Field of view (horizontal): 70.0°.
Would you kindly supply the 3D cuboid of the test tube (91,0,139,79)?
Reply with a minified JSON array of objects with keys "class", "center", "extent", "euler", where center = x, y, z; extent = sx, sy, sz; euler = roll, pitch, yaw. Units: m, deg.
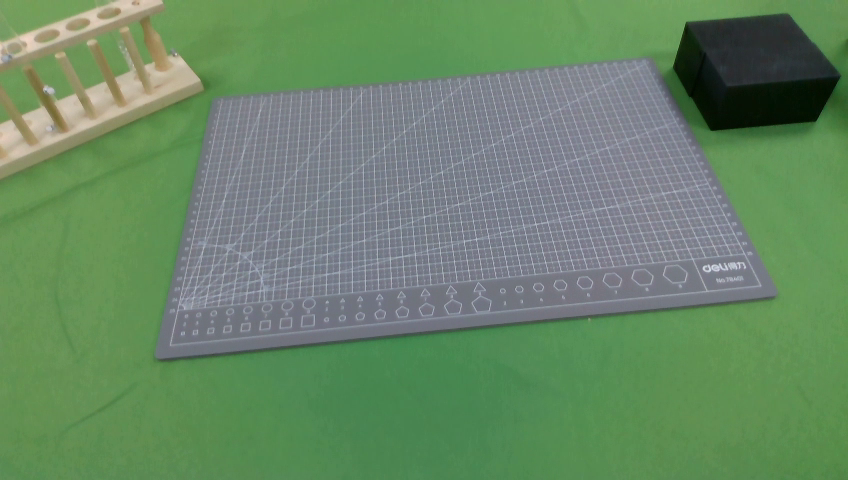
[{"class":"test tube","center":[-0.302,-0.219,0.572],"extent":[0.017,0.152,0.017],"euler":[-4,47,5]}]

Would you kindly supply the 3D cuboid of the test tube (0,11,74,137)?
[{"class":"test tube","center":[-0.349,-0.153,0.527],"extent":[0.017,0.152,0.017],"euler":[-3,48,3]}]

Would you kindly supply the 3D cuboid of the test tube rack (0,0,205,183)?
[{"class":"test tube rack","center":[-0.346,-0.140,0.574],"extent":[0.242,0.086,0.066],"euler":[-31,55,-20]}]
